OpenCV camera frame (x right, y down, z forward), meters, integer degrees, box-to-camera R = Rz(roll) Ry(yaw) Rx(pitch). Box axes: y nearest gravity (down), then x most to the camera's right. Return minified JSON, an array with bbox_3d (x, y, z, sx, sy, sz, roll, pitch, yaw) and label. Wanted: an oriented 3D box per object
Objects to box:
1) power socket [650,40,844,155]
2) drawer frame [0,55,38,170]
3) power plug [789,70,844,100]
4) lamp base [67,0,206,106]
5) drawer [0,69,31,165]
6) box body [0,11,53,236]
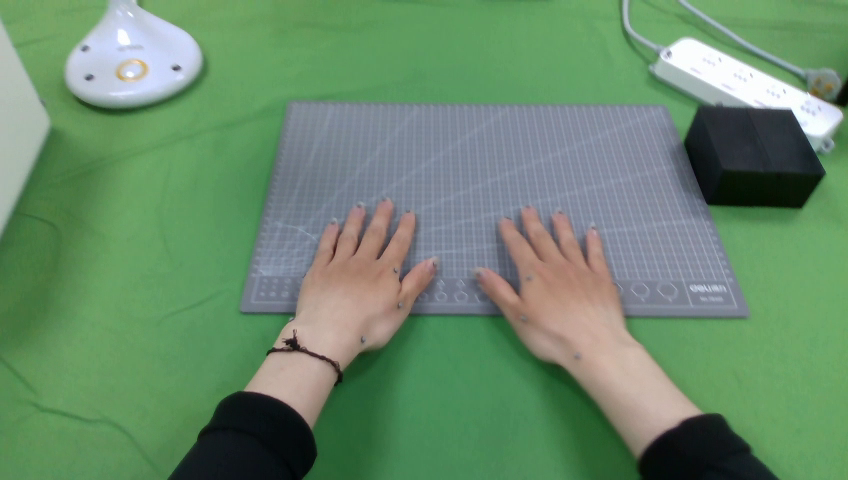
[{"bbox_3d":[0.381,-0.174,0.721,0.072,0.033,0.224,-34,58,-27],"label":"power socket"},{"bbox_3d":[-0.505,-0.097,0.550,0.202,0.083,0.211,5,42,-13],"label":"drawer frame"},{"bbox_3d":[0.477,-0.190,0.747,0.053,0.035,0.072,-25,20,-26],"label":"power plug"},{"bbox_3d":[-0.357,-0.276,0.695,0.161,0.182,0.177,-19,50,-16],"label":"lamp base"},{"bbox_3d":[-0.506,-0.094,0.548,0.195,0.074,0.209,6,41,-12],"label":"drawer"},{"bbox_3d":[-0.518,-0.053,0.515,0.254,0.162,0.360,-3,50,-4],"label":"box body"}]
